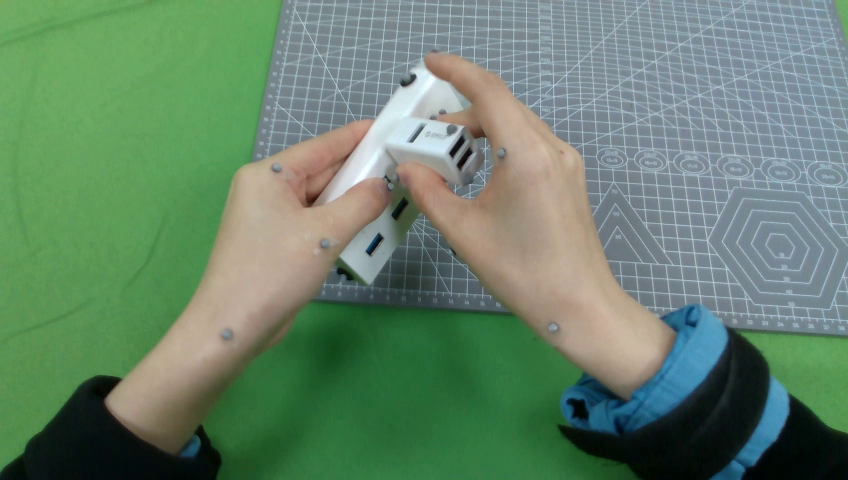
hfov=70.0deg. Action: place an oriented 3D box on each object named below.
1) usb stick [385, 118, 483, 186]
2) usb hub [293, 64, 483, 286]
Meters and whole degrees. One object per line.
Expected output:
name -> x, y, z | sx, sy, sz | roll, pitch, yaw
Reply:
usb stick -> 0.000, -0.046, 0.312 | 0.058, 0.027, 0.021 | 18, 66, 48
usb hub -> -0.016, -0.038, 0.340 | 0.025, 0.050, 0.125 | 16, 65, 45
